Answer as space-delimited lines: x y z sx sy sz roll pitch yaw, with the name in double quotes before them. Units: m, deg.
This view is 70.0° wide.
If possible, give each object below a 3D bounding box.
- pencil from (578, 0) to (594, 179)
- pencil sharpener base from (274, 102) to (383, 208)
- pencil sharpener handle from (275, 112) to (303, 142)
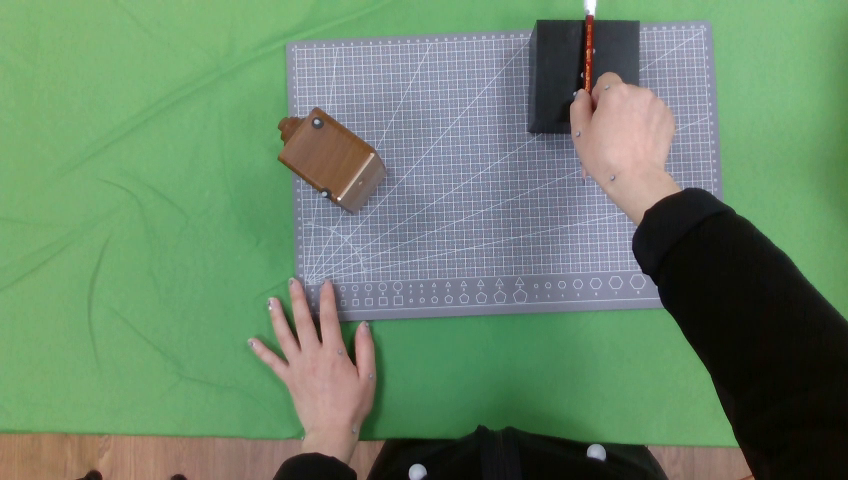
"pencil" 0.154 -0.153 0.579 0.012 0.012 0.193 3 84 2
"pencil sharpener base" -0.090 -0.080 0.588 0.076 0.107 0.061 37 89 3
"pencil sharpener handle" -0.130 -0.112 0.577 0.030 0.068 0.036 37 97 3
